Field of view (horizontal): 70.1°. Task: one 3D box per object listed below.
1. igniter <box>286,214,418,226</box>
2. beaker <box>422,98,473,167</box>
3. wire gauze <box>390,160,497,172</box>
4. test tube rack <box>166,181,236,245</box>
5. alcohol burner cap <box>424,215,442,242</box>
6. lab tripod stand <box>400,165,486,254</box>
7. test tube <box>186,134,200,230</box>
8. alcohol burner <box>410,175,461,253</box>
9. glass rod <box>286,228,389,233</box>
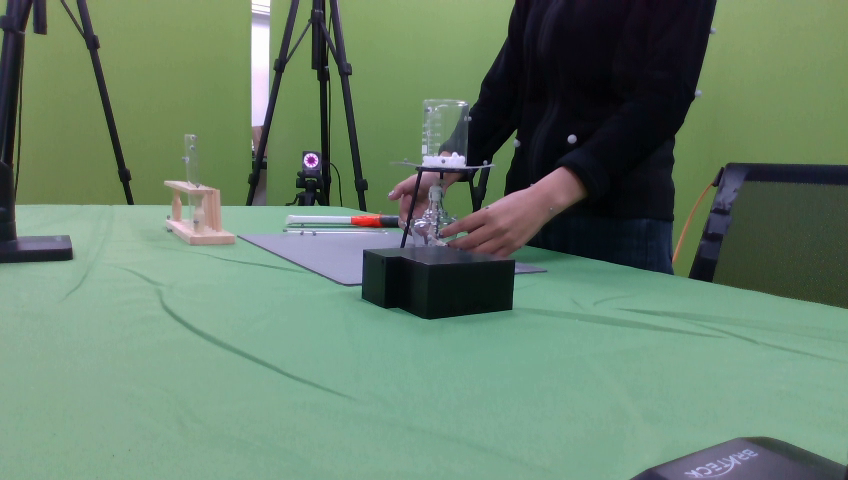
[{"bbox_3d":[-0.146,-0.043,1.263,0.278,0.025,0.057,-1,-2,-24],"label":"igniter"},{"bbox_3d":[0.031,-0.162,0.919,0.074,0.100,0.083,-4,10,-36],"label":"beaker"},{"bbox_3d":[0.027,-0.114,0.920,0.122,0.011,0.124,-5,13,-34],"label":"wire gauze"},{"bbox_3d":[-0.383,-0.051,1.024,0.067,0.085,0.241,-2,9,-31],"label":"test tube rack"},{"bbox_3d":[0.017,-0.022,1.098,0.034,0.048,0.034,2,8,0],"label":"alcohol burner cap"},{"bbox_3d":[0.028,-0.049,0.930,0.148,0.131,0.148,3,9,0],"label":"lab tripod stand"},{"bbox_3d":[-0.360,-0.089,0.946,0.017,0.150,0.017,0,10,0],"label":"test tube"},{"bbox_3d":[0.018,-0.040,0.931,0.078,0.119,0.078,0,7,0],"label":"alcohol burner"},{"bbox_3d":[-0.153,-0.016,1.101,0.201,0.008,0.008,1,7,-31],"label":"glass rod"}]
